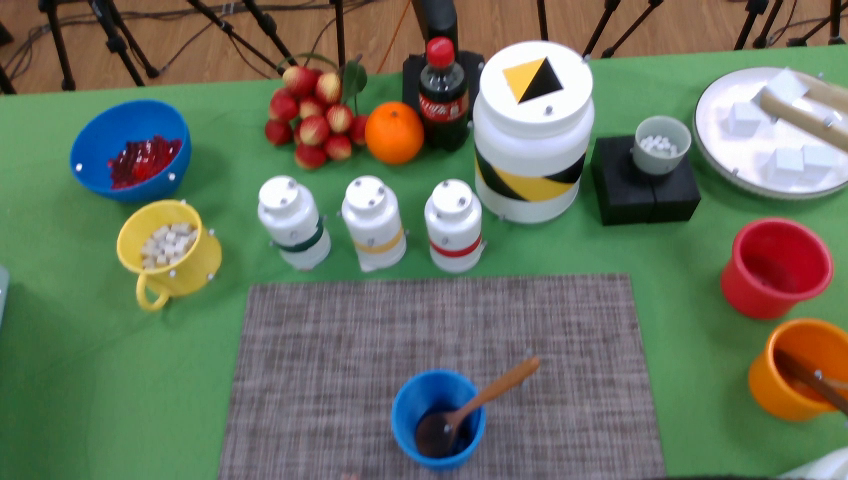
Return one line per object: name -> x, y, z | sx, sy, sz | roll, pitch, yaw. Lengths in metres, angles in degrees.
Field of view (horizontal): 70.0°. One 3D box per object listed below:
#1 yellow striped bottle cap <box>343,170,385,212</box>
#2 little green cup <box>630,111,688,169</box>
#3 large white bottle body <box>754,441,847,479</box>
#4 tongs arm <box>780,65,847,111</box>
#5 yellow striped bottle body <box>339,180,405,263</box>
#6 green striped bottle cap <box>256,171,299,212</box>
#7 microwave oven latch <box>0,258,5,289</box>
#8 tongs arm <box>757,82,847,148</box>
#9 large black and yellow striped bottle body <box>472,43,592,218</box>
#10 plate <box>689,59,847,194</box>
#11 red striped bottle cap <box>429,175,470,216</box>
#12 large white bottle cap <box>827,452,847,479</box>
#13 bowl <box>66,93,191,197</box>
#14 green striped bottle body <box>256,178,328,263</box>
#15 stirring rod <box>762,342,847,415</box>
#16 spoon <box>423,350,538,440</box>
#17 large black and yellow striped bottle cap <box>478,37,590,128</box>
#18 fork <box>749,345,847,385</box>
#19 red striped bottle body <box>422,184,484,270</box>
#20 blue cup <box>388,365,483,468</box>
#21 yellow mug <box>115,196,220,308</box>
yellow striped bottle cap -> -0.064, -0.053, 0.652 | 0.044, 0.019, 0.044 | -1, 62, 3
little green cup -> 0.271, -0.115, 0.708 | 0.061, 0.039, 0.061 | -2, 60, 3
large white bottle body -> 0.342, 0.234, 0.478 | 0.130, 0.186, 0.129 | -2, 60, 4
tongs arm -> 0.449, -0.057, 0.467 | 0.028, 0.028, 0.383 | -33, 48, -12
yellow striped bottle body -> -0.060, -0.027, 0.696 | 0.063, 0.121, 0.062 | -3, 60, 5
green striped bottle cap -> -0.159, -0.053, 0.659 | 0.044, 0.020, 0.044 | -2, 59, 3
microwave oven latch -> -0.520, 0.054, 0.715 | 0.030, 0.030, 0.078 | -9, 61, 0
tongs arm -> 0.431, -0.044, 0.463 | 0.051, 0.027, 0.380 | -32, 48, -7
large black and yellow striped bottle body -> 0.121, -0.124, 0.700 | 0.131, 0.185, 0.129 | -2, 60, 4
plate -> 0.440, -0.141, 0.767 | 0.209, 0.038, 0.207 | -2, 61, 4
red striped bottle cap -> 0.027, -0.048, 0.640 | 0.044, 0.018, 0.044 | 0, 59, 0
large white bottle cap -> 0.333, 0.191, 0.405 | 0.115, 0.018, 0.114 | -2, 60, 4
bowl -> -0.370, -0.109, 0.793 | 0.151, 0.077, 0.150 | -2, 61, 3
green striped bottle body -> -0.154, -0.027, 0.705 | 0.063, 0.120, 0.062 | -2, 60, 4
stirring rod -> 0.368, 0.136, 0.559 | 0.014, 0.006, 0.175 | -7, 17, -1
spoon -> 0.041, 0.148, 0.550 | 0.022, 0.194, 0.041 | -2, 58, -34
large black and yellow striped bottle cap -> 0.113, -0.165, 0.626 | 0.115, 0.019, 0.114 | -2, 59, 4
fork -> 0.395, 0.134, 0.551 | 0.028, 0.019, 0.206 | -34, 19, -19
red striped bottle body -> 0.033, -0.021, 0.686 | 0.063, 0.121, 0.062 | -4, 58, 7
blue cup -> 0.014, 0.178, 0.582 | 0.092, 0.101, 0.092 | -2, 59, 3
yellow mug -> -0.310, 0.019, 0.723 | 0.100, 0.064, 0.130 | 6, 62, 9
